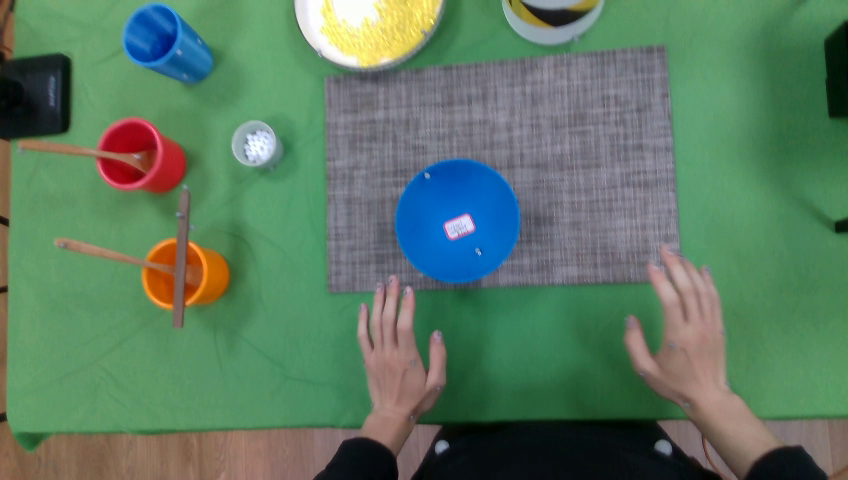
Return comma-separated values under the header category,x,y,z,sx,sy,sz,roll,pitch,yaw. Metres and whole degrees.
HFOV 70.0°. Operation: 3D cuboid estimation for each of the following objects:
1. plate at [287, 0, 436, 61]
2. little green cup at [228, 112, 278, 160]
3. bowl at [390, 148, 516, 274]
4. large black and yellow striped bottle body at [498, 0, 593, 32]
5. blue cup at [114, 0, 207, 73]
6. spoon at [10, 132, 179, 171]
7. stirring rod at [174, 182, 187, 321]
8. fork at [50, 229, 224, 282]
category,x,y,z,sx,sy,sz,roll,pitch,yaw
plate,-0.081,-0.339,0.814,0.209,0.038,0.208,-1,86,9
little green cup,-0.230,-0.138,0.822,0.061,0.039,0.061,-1,86,10
bowl,0.040,-0.032,0.748,0.151,0.077,0.151,-1,86,9
large black and yellow striped bottle body,0.145,-0.340,0.704,0.130,0.184,0.130,-1,85,9
blue cup,-0.347,-0.271,0.818,0.092,0.100,0.092,-1,86,11
spoon,-0.429,-0.123,0.800,0.195,0.021,0.041,6,88,-34
stirring rod,-0.308,0.013,0.765,0.014,0.006,0.176,-2,86,11
fork,-0.361,0.020,0.775,0.209,0.018,0.028,18,91,-33
